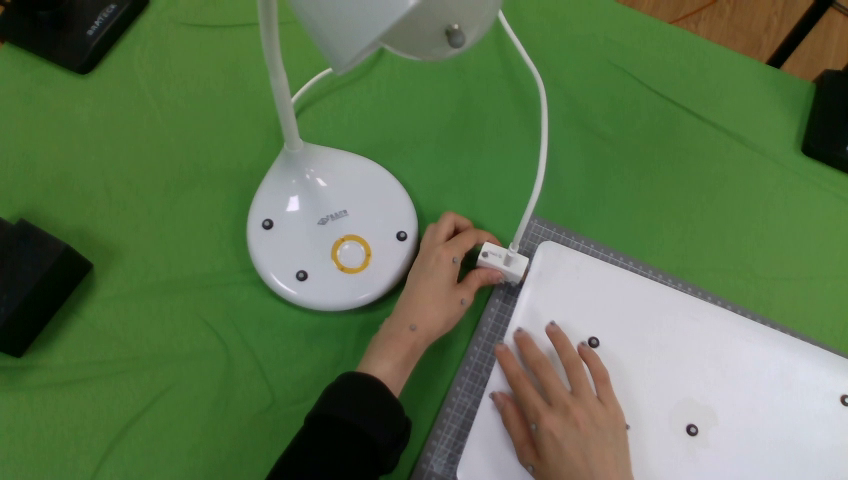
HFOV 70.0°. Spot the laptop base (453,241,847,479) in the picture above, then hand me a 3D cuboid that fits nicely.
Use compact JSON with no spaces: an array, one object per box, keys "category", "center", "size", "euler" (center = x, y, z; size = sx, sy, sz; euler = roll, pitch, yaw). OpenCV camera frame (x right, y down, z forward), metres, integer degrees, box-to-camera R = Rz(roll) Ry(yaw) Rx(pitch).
[{"category":"laptop base","center":[0.226,0.165,0.533],"size":[0.354,0.023,0.234],"euler":[22,72,4]}]

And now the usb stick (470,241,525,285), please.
[{"category":"usb stick","center":[0.075,0.024,0.563],"size":[0.059,0.027,0.021],"euler":[23,65,1]}]

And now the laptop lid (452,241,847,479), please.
[{"category":"laptop lid","center":[0.225,0.163,0.521],"size":[0.356,0.013,0.240],"euler":[23,71,5]}]

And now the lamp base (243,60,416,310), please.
[{"category":"lamp base","center":[-0.091,-0.049,0.504],"size":[0.160,0.181,0.178],"euler":[-34,72,-16]}]

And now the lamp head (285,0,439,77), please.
[{"category":"lamp head","center":[-0.025,-0.138,0.218],"size":[0.112,0.112,0.123],"euler":[-44,101,-18]}]
